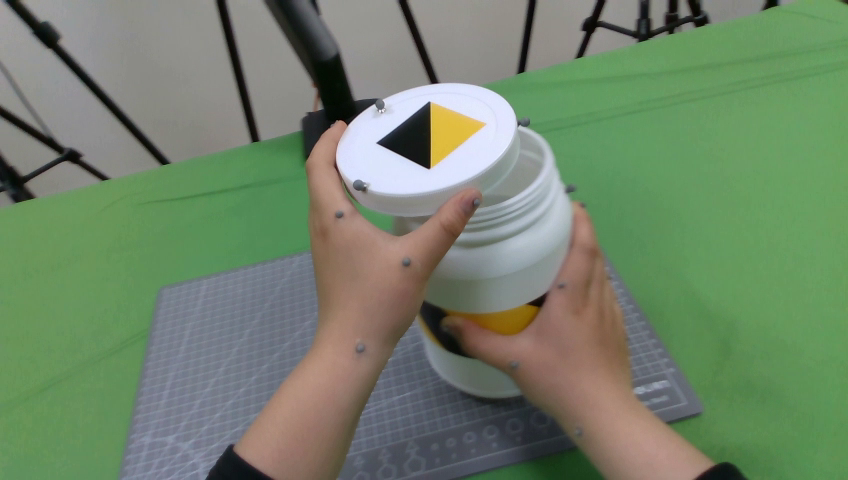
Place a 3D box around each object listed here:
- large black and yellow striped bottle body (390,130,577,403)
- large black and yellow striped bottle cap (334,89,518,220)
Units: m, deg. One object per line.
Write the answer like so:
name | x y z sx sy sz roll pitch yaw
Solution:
large black and yellow striped bottle body | 0.048 0.020 0.459 0.130 0.186 0.129 -8 40 7
large black and yellow striped bottle cap | 0.001 -0.058 0.380 0.115 0.019 0.114 -7 45 7
